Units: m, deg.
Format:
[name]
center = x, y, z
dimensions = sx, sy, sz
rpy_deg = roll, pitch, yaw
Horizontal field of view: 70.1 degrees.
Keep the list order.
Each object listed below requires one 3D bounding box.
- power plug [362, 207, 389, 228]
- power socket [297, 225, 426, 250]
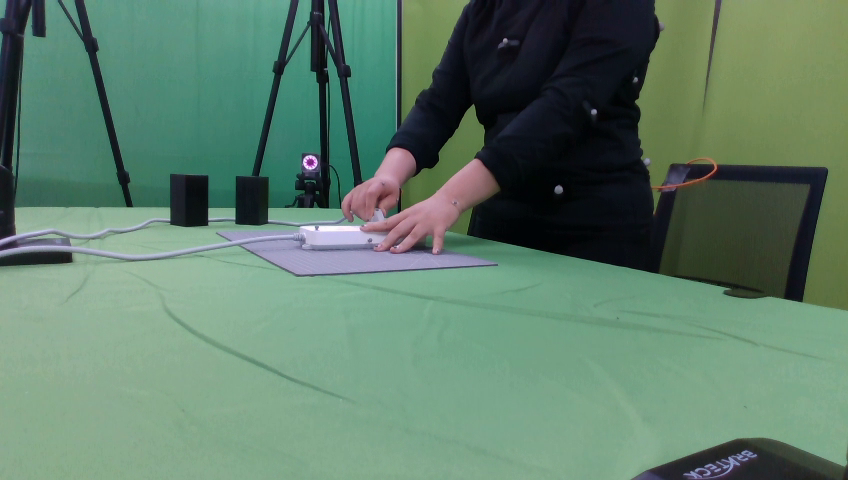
[power plug]
center = -0.083, -0.029, 1.032
dimensions = 0.035, 0.052, 0.072
rpy_deg = -1, 5, -16
[power socket]
center = -0.099, -0.006, 0.992
dimensions = 0.228, 0.032, 0.072
rpy_deg = -2, 8, -31
